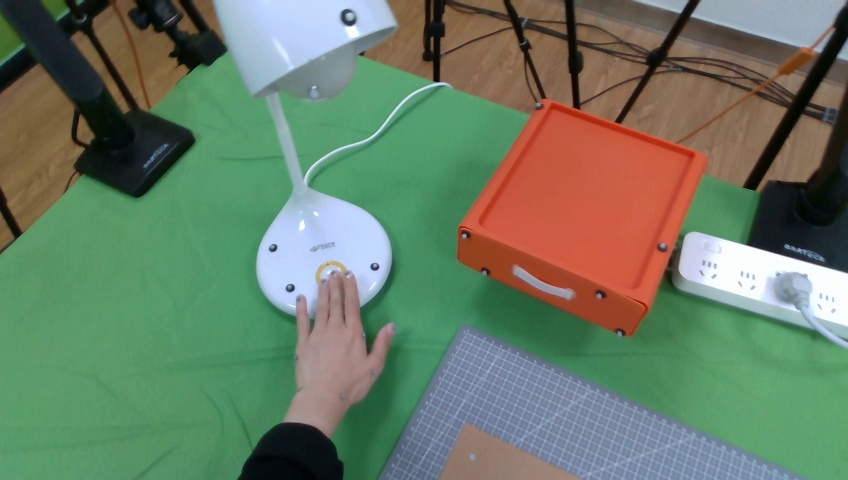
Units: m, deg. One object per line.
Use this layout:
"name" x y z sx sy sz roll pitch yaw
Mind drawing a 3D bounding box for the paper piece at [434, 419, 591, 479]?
"paper piece" 0.069 0.257 0.569 0.135 0.009 0.137 21 61 18

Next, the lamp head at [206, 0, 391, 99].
"lamp head" -0.097 -0.170 0.404 0.112 0.112 0.123 -32 100 -18

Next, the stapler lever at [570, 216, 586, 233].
"stapler lever" 0.135 -0.031 0.652 0.027 0.040 0.117 -35 57 -1

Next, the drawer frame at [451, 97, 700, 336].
"drawer frame" 0.165 -0.035 0.663 0.200 0.083 0.212 23 60 16

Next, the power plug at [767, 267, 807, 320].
"power plug" 0.384 0.060 0.651 0.035 0.053 0.072 27 62 17

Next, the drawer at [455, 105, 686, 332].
"drawer" 0.166 -0.032 0.662 0.193 0.074 0.211 24 60 17

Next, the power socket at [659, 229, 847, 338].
"power socket" 0.386 0.047 0.687 0.226 0.033 0.072 17 60 12

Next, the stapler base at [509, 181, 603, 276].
"stapler base" 0.145 -0.018 0.674 0.041 0.025 0.129 -35 59 -1

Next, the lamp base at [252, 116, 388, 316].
"lamp base" -0.131 -0.033 0.661 0.161 0.182 0.177 -25 57 -15

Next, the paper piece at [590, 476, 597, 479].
"paper piece" 0.186 0.303 0.535 0.135 0.004 0.135 24 61 16
